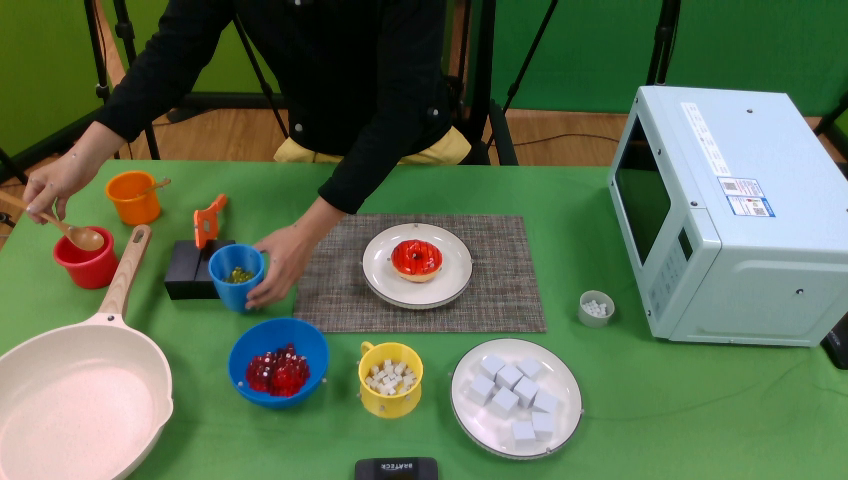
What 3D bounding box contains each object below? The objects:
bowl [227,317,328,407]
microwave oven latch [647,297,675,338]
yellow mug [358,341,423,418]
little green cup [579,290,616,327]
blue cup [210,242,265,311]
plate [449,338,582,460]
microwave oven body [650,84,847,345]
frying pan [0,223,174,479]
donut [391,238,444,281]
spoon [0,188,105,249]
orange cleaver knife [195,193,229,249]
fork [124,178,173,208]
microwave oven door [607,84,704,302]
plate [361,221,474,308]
[{"bbox_3d":[-0.222,0.203,0.947,0.151,0.077,0.150,2,46,-2],"label":"bowl"},{"bbox_3d":[0.413,0.133,1.060,0.030,0.029,0.078,5,46,2],"label":"microwave oven latch"},{"bbox_3d":[-0.063,0.210,0.961,0.100,0.064,0.130,-29,54,-28],"label":"yellow mug"},{"bbox_3d":[0.308,0.124,1.086,0.061,0.039,0.061,1,45,-1],"label":"little green cup"},{"bbox_3d":[-0.307,0.068,1.011,0.093,0.100,0.092,5,50,-6],"label":"blue cup"},{"bbox_3d":[0.141,0.251,0.956,0.208,0.039,0.206,2,46,-2],"label":"plate"},{"bbox_3d":[0.569,-0.054,1.115,0.326,0.261,0.439,2,46,-1],"label":"microwave oven body"},{"bbox_3d":[-0.504,0.169,0.941,0.307,0.103,0.485,5,54,-1],"label":"frying pan"},{"bbox_3d":[-0.012,0.035,1.128,0.099,0.048,0.098,3,43,-3],"label":"donut"},{"bbox_3d":[-0.634,-0.041,1.017,0.195,0.021,0.041,37,51,-28],"label":"spoon"},{"bbox_3d":[-0.405,-0.041,1.163,0.012,0.077,0.210,0,18,-3],"label":"orange cleaver knife"},{"bbox_3d":[-0.525,-0.090,1.153,0.207,0.019,0.028,-17,25,45],"label":"fork"},{"bbox_3d":[0.424,-0.096,1.137,0.039,0.245,0.353,2,46,-1],"label":"microwave oven door"},{"bbox_3d":[-0.011,0.049,1.130,0.209,0.038,0.208,2,46,-2],"label":"plate"}]
